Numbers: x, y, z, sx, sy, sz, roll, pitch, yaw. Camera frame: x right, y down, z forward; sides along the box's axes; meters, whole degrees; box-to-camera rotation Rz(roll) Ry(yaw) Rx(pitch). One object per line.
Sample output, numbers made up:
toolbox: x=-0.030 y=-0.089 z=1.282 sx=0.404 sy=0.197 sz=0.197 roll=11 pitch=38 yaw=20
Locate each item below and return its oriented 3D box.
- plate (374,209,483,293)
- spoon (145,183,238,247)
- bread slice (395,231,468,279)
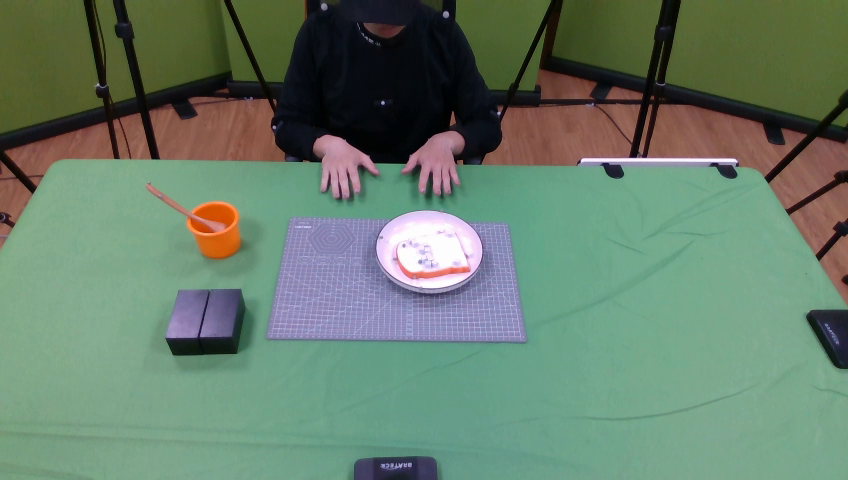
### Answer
plate: x=0.009 y=0.024 z=1.160 sx=0.209 sy=0.038 sz=0.208 roll=2 pitch=46 yaw=-2
spoon: x=-0.424 y=-0.045 z=1.114 sx=0.195 sy=0.021 sz=0.041 roll=34 pitch=40 yaw=-28
bread slice: x=0.011 y=0.030 z=1.158 sx=0.132 sy=0.019 sz=0.104 roll=-8 pitch=47 yaw=-14
